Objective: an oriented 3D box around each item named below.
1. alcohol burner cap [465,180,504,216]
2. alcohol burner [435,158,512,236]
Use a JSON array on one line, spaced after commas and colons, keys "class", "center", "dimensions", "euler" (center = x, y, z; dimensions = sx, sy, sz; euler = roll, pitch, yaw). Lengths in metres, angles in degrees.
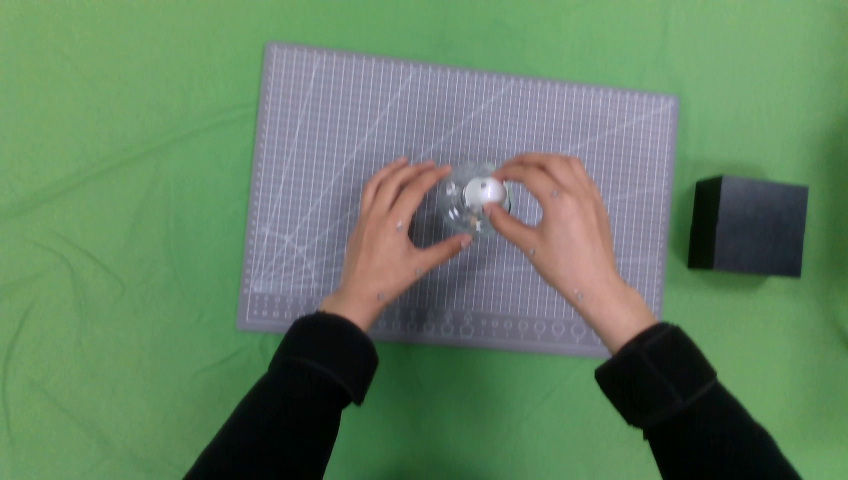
[{"class": "alcohol burner cap", "center": [0.057, -0.039, 0.552], "dimensions": [0.034, 0.048, 0.034], "euler": [0, 90, -3]}, {"class": "alcohol burner", "center": [0.052, -0.043, 0.589], "dimensions": [0.078, 0.119, 0.078], "euler": [0, 90, -9]}]
